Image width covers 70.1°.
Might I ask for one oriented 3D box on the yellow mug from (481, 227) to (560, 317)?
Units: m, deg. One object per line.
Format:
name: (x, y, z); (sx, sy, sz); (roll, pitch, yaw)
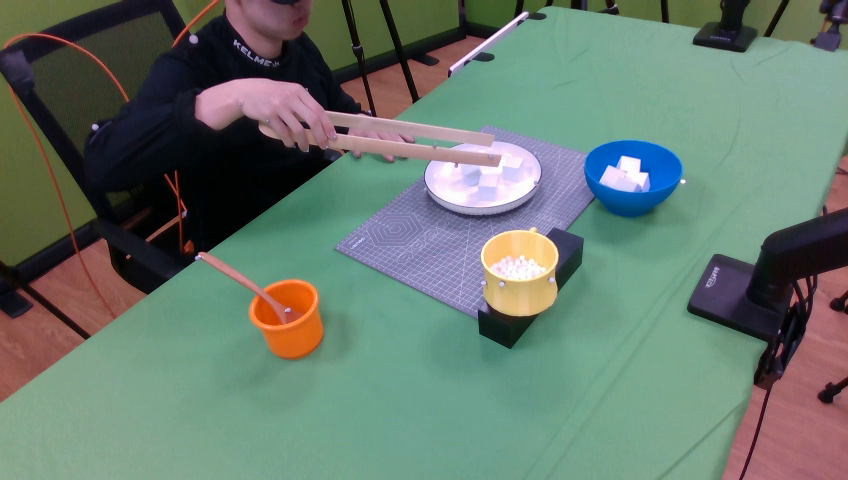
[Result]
yellow mug: (0.131, 0.032, 0.801); (0.099, 0.064, 0.131); (11, 43, 20)

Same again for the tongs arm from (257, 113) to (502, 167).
tongs arm: (-0.063, -0.154, 0.953); (0.387, 0.026, 0.050); (3, 42, -16)

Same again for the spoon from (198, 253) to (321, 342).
spoon: (-0.220, 0.075, 0.814); (0.021, 0.194, 0.041); (-37, 18, 39)

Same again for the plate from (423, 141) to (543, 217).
plate: (0.103, -0.103, 1.059); (0.207, 0.039, 0.206); (-4, 40, 4)

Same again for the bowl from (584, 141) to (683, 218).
bowl: (0.335, -0.089, 0.983); (0.151, 0.077, 0.150); (-4, 40, 4)

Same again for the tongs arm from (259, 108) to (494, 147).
tongs arm: (-0.068, -0.180, 0.981); (0.390, 0.028, 0.028); (3, 46, -17)
